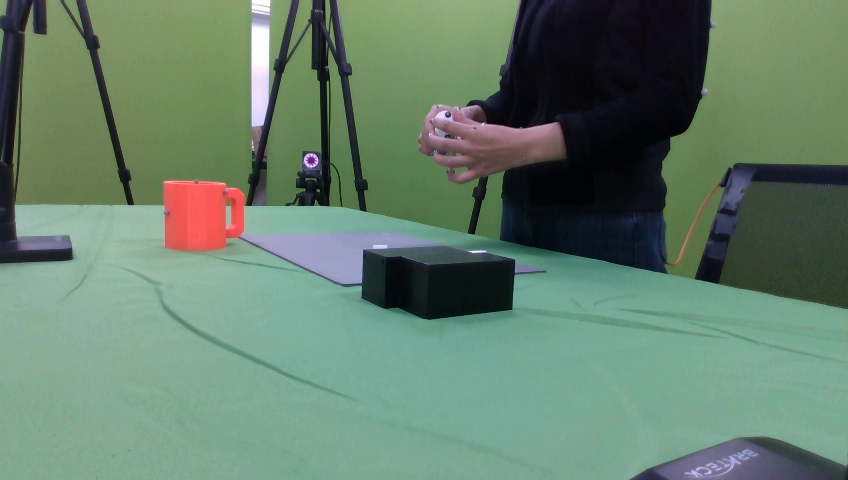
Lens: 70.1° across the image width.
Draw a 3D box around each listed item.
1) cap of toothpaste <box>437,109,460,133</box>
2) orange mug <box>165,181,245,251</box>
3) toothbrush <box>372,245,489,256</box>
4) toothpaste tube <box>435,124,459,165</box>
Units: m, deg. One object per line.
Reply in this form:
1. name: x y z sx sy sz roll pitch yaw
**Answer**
1. cap of toothpaste: 0.039 -0.190 0.961 0.037 0.037 0.011 2 -8 -1
2. orange mug: -0.326 -0.040 0.911 0.083 0.101 0.127 8 14 37
3. toothbrush: 0.012 0.016 0.874 0.183 0.016 0.014 1 -6 -22
4. toothpaste tube: 0.042 -0.171 1.038 0.055 0.034 0.165 40 -9 9
